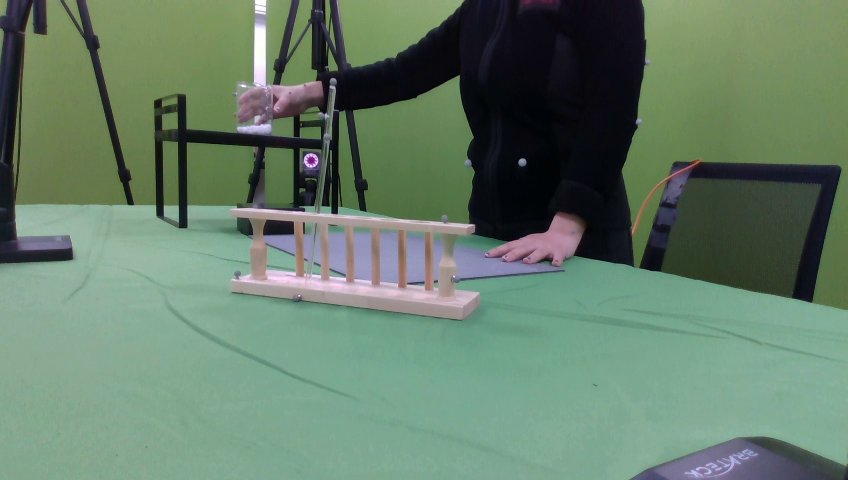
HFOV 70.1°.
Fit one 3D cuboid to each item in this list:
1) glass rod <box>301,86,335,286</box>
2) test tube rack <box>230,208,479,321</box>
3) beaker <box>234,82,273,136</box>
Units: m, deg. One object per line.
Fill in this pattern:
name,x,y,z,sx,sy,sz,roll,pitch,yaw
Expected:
glass rod,-0.104,-0.049,0.588,0.008,0.199,0.008,9,7,-1
test tube rack,-0.069,0.017,0.598,0.242,0.085,0.067,5,8,18
beaker,-0.338,-0.260,1.208,0.083,0.100,0.074,10,11,42
